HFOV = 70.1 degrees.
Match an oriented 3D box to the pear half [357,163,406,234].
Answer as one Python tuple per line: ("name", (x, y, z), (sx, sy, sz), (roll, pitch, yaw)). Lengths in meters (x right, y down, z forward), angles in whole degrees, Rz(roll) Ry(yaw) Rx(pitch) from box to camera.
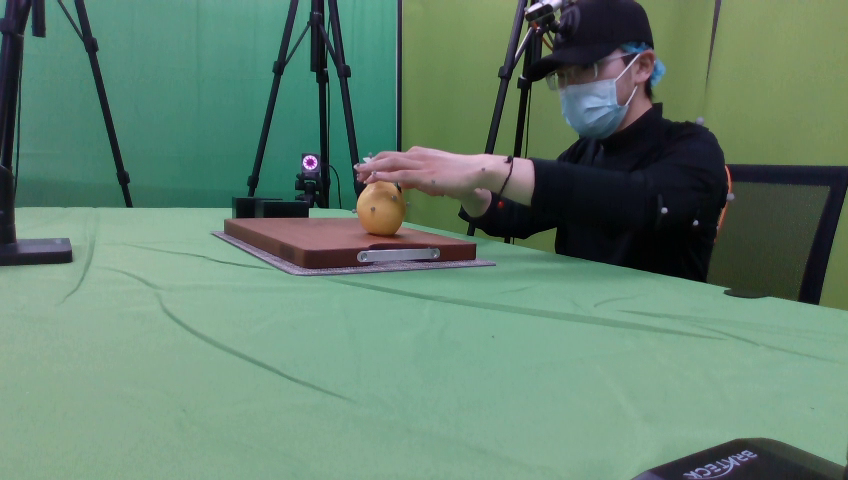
("pear half", (-0.059, -0.063, 0.928), (0.077, 0.110, 0.055), (-8, 12, -36))

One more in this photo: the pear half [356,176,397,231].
("pear half", (-0.080, -0.058, 0.958), (0.071, 0.088, 0.031), (-12, 14, -36))

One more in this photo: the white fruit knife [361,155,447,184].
("white fruit knife", (-0.029, -0.118, 0.993), (0.016, 0.027, 0.208), (-9, -9, 38))
